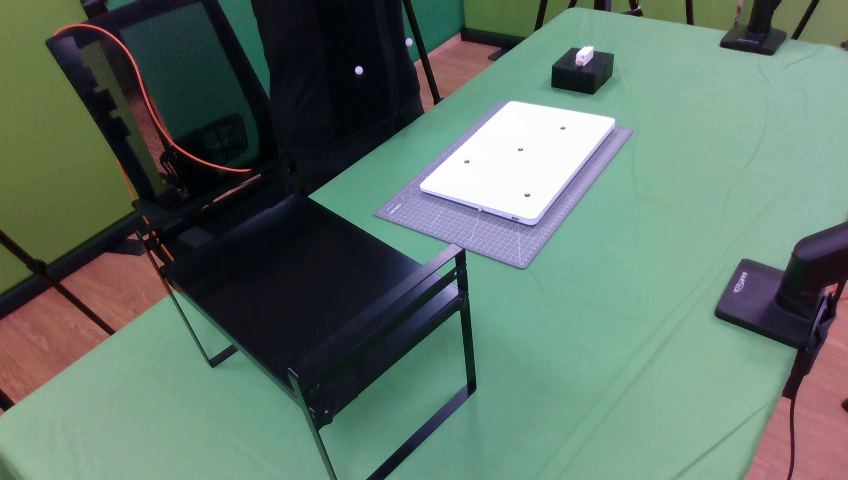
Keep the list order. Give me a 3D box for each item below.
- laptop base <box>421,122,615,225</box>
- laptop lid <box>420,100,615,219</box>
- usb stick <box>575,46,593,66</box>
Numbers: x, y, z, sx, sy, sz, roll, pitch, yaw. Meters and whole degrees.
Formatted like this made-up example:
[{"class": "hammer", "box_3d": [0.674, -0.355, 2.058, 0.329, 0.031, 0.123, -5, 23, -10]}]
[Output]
[{"class": "laptop base", "box_3d": [0.183, -0.156, 1.132, 0.234, 0.023, 0.355, 18, 46, 31]}, {"class": "laptop lid", "box_3d": [0.180, -0.166, 1.125, 0.240, 0.013, 0.357, 20, 47, 31]}, {"class": "usb stick", "box_3d": [0.343, -0.394, 1.302, 0.021, 0.027, 0.059, 22, 51, 28]}]
